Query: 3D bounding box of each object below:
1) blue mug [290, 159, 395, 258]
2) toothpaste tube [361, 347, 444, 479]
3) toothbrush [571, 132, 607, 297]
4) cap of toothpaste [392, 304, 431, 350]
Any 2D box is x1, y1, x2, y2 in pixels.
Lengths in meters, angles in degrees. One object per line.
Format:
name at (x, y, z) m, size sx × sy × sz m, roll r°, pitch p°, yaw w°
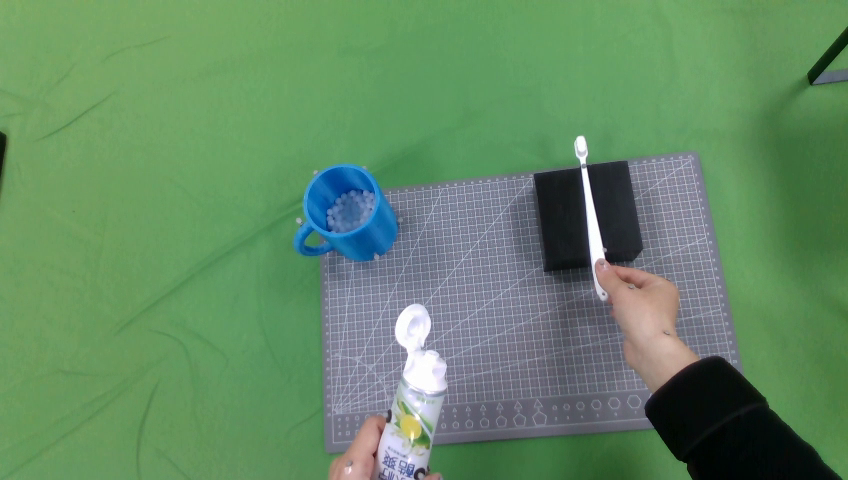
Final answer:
blue mug at (-0.095, -0.023, 0.674) m, size 0.116 × 0.106 × 0.082 m, roll -34°, pitch 74°, yaw -2°
toothpaste tube at (-0.019, 0.157, 0.466) m, size 0.055 × 0.034 × 0.165 m, roll 19°, pitch 103°, yaw 22°
toothbrush at (0.174, -0.030, 0.636) m, size 0.014 × 0.017 × 0.181 m, roll -5°, pitch 75°, yaw 1°
cap of toothpaste at (-0.008, 0.067, 0.459) m, size 0.011 × 0.038 × 0.037 m, roll 15°, pitch 75°, yaw 46°
